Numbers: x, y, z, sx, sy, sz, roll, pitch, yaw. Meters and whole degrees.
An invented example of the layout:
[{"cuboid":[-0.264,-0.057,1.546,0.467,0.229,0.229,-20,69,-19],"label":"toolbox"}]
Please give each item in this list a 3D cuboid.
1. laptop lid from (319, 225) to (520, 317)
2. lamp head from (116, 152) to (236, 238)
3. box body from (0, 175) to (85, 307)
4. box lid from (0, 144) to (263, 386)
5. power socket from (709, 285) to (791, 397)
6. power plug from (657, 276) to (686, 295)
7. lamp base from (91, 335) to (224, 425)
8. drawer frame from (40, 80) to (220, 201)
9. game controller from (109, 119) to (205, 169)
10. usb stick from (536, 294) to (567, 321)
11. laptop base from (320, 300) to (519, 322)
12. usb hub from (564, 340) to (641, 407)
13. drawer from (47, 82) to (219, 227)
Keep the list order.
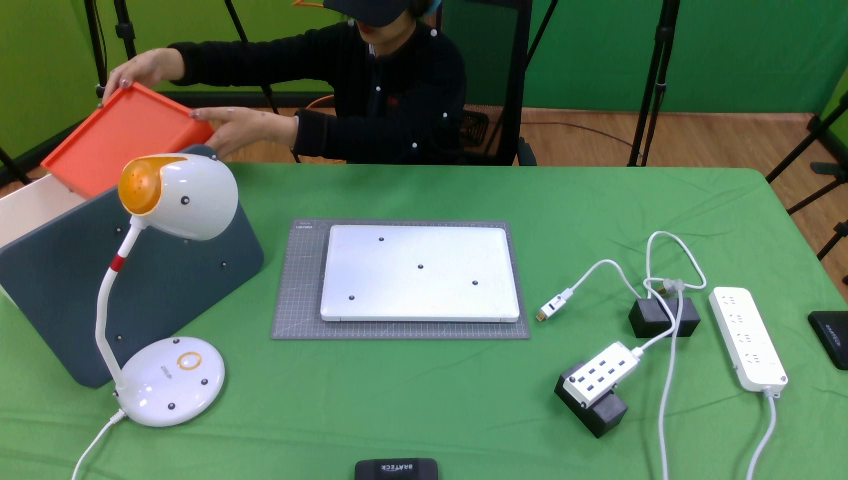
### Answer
[{"cuboid":[-0.008,0.052,1.131,0.357,0.013,0.240,2,43,-2],"label":"laptop lid"},{"cuboid":[-0.315,-0.057,0.748,0.112,0.112,0.123,26,10,20],"label":"lamp head"},{"cuboid":[-0.550,-0.007,1.068,0.253,0.161,0.363,30,51,23],"label":"box body"},{"cuboid":[-0.442,0.033,0.978,0.015,0.264,0.371,14,43,40],"label":"box lid"},{"cuboid":[0.567,0.168,1.064,0.072,0.033,0.225,2,46,0],"label":"power socket"},{"cuboid":[0.450,0.087,1.113,0.073,0.052,0.035,-13,72,-55],"label":"power plug"},{"cuboid":[-0.401,0.171,0.892,0.160,0.181,0.179,30,53,23],"label":"lamp base"},{"cuboid":[-0.499,-0.148,1.039,0.201,0.083,0.213,26,69,21],"label":"drawer frame"},{"cuboid":[-0.475,-0.177,1.068,0.154,0.052,0.097,24,38,18],"label":"game controller"},{"cuboid":[0.226,0.123,1.083,0.059,0.027,0.021,-37,77,-8],"label":"usb stick"},{"cuboid":[-0.009,0.062,1.138,0.354,0.023,0.234,1,42,-3],"label":"laptop base"},{"cuboid":[0.278,0.205,0.944,0.125,0.025,0.049,-27,52,-28],"label":"usb hub"},{"cuboid":[-0.496,-0.150,1.042,0.194,0.073,0.211,27,68,21],"label":"drawer"}]
